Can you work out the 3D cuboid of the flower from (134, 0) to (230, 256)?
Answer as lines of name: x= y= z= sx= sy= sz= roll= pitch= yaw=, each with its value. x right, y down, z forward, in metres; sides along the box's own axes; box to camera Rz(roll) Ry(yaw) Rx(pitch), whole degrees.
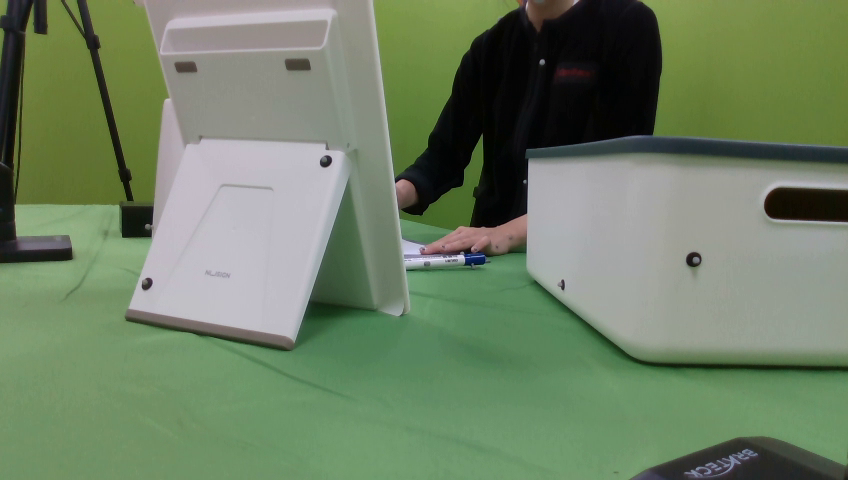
flower: x=-0.282 y=-0.147 z=0.713 sx=0.038 sy=0.362 sz=0.044 roll=-23 pitch=24 yaw=-31

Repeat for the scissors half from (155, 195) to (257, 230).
scissors half: x=-0.378 y=-0.051 z=1.059 sx=0.176 sy=0.040 sz=0.012 roll=20 pitch=23 yaw=-31

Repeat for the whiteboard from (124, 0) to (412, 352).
whiteboard: x=-0.151 y=-0.049 z=0.472 sx=0.216 sy=0.305 sz=0.144 roll=6 pitch=27 yaw=24

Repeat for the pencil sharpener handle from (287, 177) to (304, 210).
pencil sharpener handle: x=-0.269 y=-0.096 z=1.257 sx=0.036 sy=0.067 sz=0.030 roll=-8 pitch=8 yaw=-27

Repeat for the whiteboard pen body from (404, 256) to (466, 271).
whiteboard pen body: x=0.013 y=0.030 z=0.792 sx=0.141 sy=0.017 sz=0.017 roll=-3 pitch=9 yaw=-24

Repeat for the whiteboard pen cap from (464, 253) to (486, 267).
whiteboard pen cap: x=0.066 y=0.027 z=0.818 sx=0.033 sy=0.018 sz=0.018 roll=-5 pitch=10 yaw=-24

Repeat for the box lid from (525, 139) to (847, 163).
box lid: x=0.261 y=-0.078 z=0.580 sx=0.264 sy=0.015 sz=0.371 roll=2 pitch=7 yaw=-4

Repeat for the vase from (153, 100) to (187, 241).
vase: x=-0.278 y=-0.066 z=0.736 sx=0.098 sy=0.200 sz=0.098 roll=2 pitch=9 yaw=0

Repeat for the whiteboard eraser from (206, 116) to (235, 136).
whiteboard eraser: x=-0.450 y=-0.252 z=1.335 sx=0.056 sy=0.042 sz=0.112 roll=1 pitch=7 yaw=-22

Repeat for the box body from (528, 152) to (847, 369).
box body: x=0.258 y=-0.005 z=0.591 sx=0.254 sy=0.160 sz=0.363 roll=2 pitch=7 yaw=-4

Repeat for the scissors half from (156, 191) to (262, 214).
scissors half: x=-0.371 y=-0.068 z=1.051 sx=0.176 sy=0.040 sz=0.013 roll=2 pitch=26 yaw=-24

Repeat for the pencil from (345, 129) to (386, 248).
pencil: x=-0.090 y=-0.080 z=0.943 sx=0.012 sy=0.194 sz=0.012 roll=-18 pitch=3 yaw=1

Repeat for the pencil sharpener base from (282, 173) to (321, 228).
pencil sharpener base: x=-0.247 y=-0.080 z=1.212 sx=0.061 sy=0.107 sz=0.076 roll=-2 pitch=5 yaw=-28
